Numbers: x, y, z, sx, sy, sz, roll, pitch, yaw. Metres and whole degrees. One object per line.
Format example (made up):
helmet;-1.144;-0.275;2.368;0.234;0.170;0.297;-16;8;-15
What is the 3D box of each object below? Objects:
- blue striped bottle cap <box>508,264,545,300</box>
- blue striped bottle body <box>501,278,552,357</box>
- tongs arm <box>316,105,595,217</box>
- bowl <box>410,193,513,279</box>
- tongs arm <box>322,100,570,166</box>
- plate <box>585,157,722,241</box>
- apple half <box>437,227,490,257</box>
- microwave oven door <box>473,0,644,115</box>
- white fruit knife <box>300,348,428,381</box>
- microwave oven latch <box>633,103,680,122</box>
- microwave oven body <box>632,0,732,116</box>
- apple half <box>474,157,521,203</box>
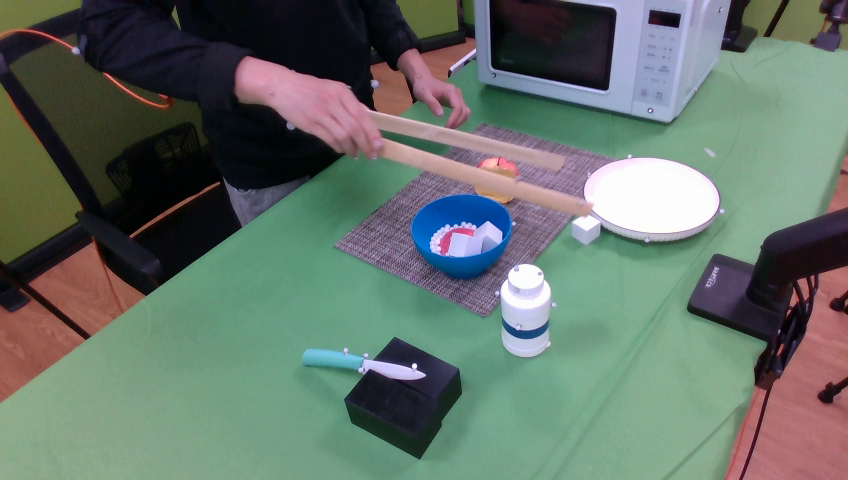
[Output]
blue striped bottle cap;0.125;0.050;0.735;0.044;0.021;0.044;-5;39;5
blue striped bottle body;0.129;0.089;0.769;0.063;0.121;0.063;-4;41;4
tongs arm;0.047;-0.101;0.802;0.387;0.026;0.050;14;38;-13
bowl;0.058;0.005;0.905;0.151;0.077;0.150;-4;40;4
tongs arm;0.041;-0.147;0.859;0.390;0.028;0.028;8;43;-22
plate;0.367;-0.063;0.979;0.207;0.039;0.206;-4;40;4
apple half;0.056;0.001;0.902;0.081;0.033;0.081;-3;41;3
microwave oven door;0.257;-0.396;1.199;0.353;0.245;0.039;21;48;29
white fruit knife;-0.079;0.154;0.748;0.206;0.027;0.016;1;20;34
microwave oven latch;0.444;-0.249;1.157;0.078;0.029;0.030;21;48;30
microwave oven body;0.377;-0.462;1.267;0.438;0.261;0.327;21;48;30
apple half;0.128;-0.107;1.030;0.080;0.075;0.053;5;38;20
